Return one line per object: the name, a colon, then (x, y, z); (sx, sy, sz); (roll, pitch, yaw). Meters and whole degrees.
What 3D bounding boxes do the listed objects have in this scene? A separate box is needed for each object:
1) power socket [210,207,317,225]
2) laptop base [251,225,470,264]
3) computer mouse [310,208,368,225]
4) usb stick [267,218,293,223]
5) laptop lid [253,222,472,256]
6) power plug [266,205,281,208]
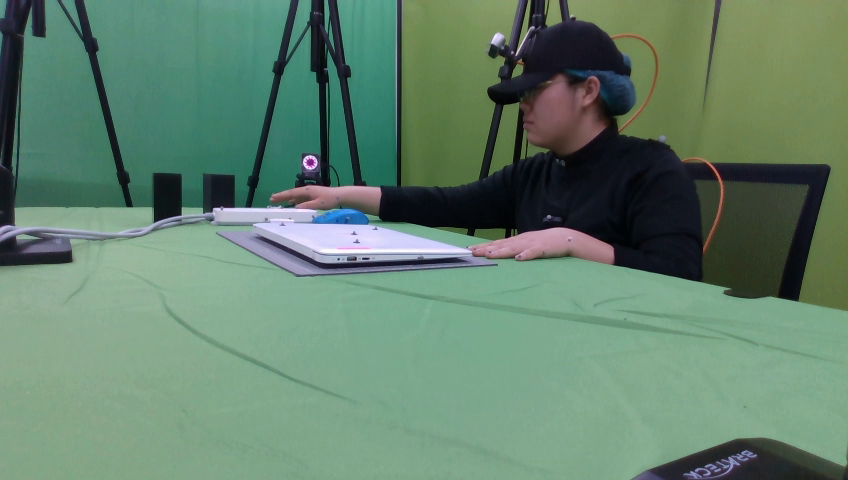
power socket: (-0.335, -0.051, 1.282); (0.228, 0.032, 0.072); (-1, 9, -28)
laptop base: (-0.116, 0.007, 0.955); (0.237, 0.023, 0.352); (2, 6, -31)
computer mouse: (-0.179, -0.045, 1.275); (0.118, 0.041, 0.062); (-6, 13, -29)
usb stick: (-0.272, -0.026, 1.108); (0.059, 0.027, 0.021); (-4, 11, -27)
laptop lid: (-0.113, -0.005, 0.955); (0.243, 0.013, 0.355); (1, 7, -29)
power plug: (-0.344, -0.056, 1.364); (0.053, 0.035, 0.072); (-21, -9, -16)
